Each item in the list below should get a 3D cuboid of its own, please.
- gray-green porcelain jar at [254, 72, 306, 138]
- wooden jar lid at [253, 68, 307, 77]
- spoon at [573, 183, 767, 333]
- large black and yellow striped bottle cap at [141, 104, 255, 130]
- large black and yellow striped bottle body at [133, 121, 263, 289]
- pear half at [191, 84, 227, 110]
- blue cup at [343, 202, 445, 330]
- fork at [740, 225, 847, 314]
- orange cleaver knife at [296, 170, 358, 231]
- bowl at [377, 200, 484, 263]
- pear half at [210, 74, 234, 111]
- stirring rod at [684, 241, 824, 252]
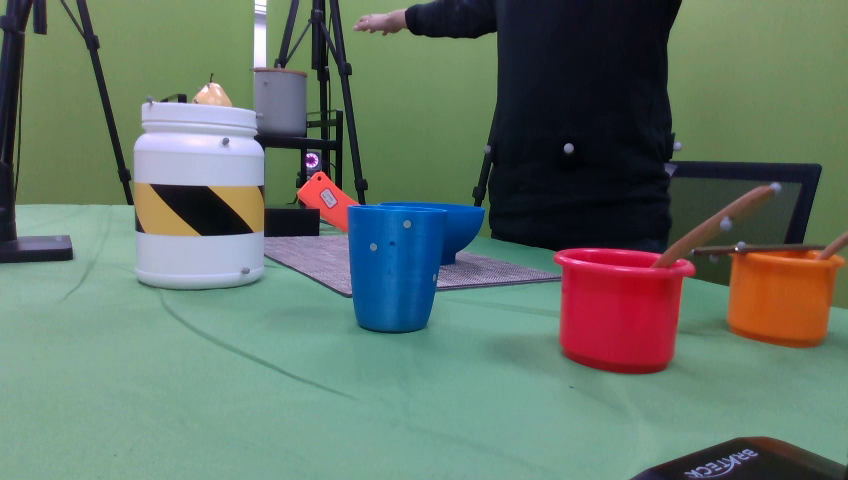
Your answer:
[{"bbox_3d":[-0.299,-0.277,1.257,0.106,0.126,0.106,2,8,0],"label":"gray-green porcelain jar"},{"bbox_3d":[-0.296,-0.339,1.249,0.108,0.020,0.108,3,10,0],"label":"wooden jar lid"},{"bbox_3d":[0.158,0.020,0.412,0.042,0.021,0.193,-2,-35,-21],"label":"spoon"},{"bbox_3d":[-0.241,-0.131,0.650,0.115,0.019,0.115,3,8,0],"label":"large black and yellow striped bottle cap"},{"bbox_3d":[-0.243,-0.048,0.659,0.131,0.184,0.130,2,7,0],"label":"large black and yellow striped bottle body"},{"bbox_3d":[-0.405,-0.248,1.128,0.070,0.088,0.031,6,6,2],"label":"pear half"},{"bbox_3d":[-0.027,0.021,0.510,0.093,0.100,0.092,3,5,0],"label":"blue cup"},{"bbox_3d":[0.323,0.013,0.485,0.028,0.018,0.207,9,-38,-5],"label":"fork"},{"bbox_3d":[-0.150,-0.058,1.170,0.212,0.077,0.012,33,-14,-32],"label":"orange cleaver knife"},{"bbox_3d":[0.008,-0.012,0.842,0.151,0.077,0.151,2,7,0],"label":"bowl"},{"bbox_3d":[-0.401,-0.262,1.162,0.076,0.109,0.056,7,7,2],"label":"pear half"},{"bbox_3d":[0.289,0.005,0.525,0.177,0.006,0.014,-1,5,-26],"label":"stirring rod"}]
